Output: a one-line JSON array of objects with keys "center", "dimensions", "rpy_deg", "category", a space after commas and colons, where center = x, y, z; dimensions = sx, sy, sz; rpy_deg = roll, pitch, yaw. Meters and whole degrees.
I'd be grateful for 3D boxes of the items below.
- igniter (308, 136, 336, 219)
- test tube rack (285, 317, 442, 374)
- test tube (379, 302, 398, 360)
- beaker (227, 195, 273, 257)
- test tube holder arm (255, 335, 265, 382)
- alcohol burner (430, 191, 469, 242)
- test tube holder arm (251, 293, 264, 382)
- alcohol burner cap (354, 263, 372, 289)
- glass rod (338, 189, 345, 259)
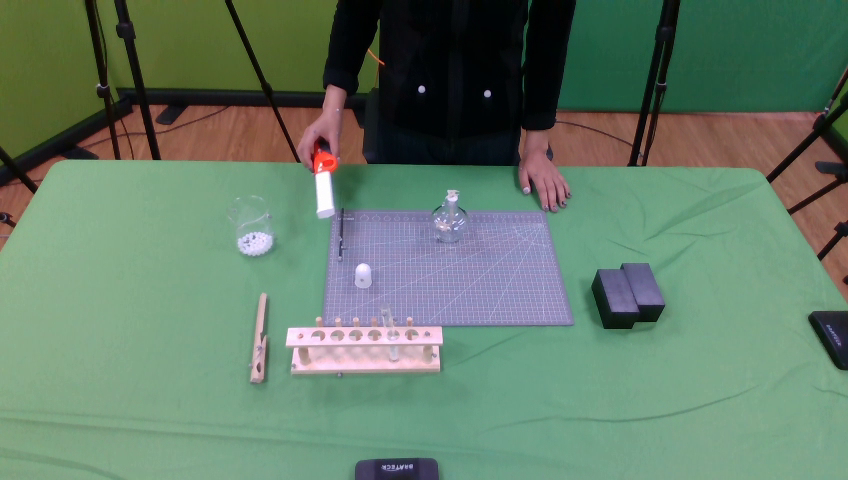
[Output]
[{"center": [-0.204, -0.134, 1.219], "dimensions": [0.057, 0.025, 0.274], "rpy_deg": [-13, 40, 0], "category": "igniter"}, {"center": [-0.095, 0.166, 0.988], "dimensions": [0.242, 0.085, 0.066], "rpy_deg": [0, 46, -4], "category": "test tube rack"}, {"center": [-0.054, 0.145, 0.943], "dimensions": [0.017, 0.151, 0.017], "rpy_deg": [-2, 49, 3], "category": "test tube"}, {"center": [-0.326, -0.022, 1.142], "dimensions": [0.074, 0.101, 0.083], "rpy_deg": [10, 47, 6], "category": "beaker"}, {"center": [-0.270, 0.193, 0.997], "dimensions": [0.010, 0.015, 0.087], "rpy_deg": [23, 36, -32], "category": "test tube holder arm"}, {"center": [0.051, -0.053, 1.185], "dimensions": [0.078, 0.119, 0.077], "rpy_deg": [2, 48, -2], "category": "alcohol burner"}, {"center": [-0.281, 0.160, 1.025], "dimensions": [0.013, 0.015, 0.177], "rpy_deg": [23, 36, -32], "category": "test tube holder arm"}, {"center": [-0.113, 0.063, 1.111], "dimensions": [0.034, 0.048, 0.033], "rpy_deg": [2, 46, -2], "category": "alcohol burner cap"}, {"center": [-0.166, -0.036, 1.227], "dimensions": [0.008, 0.008, 0.198], "rpy_deg": [-1, 47, -4], "category": "glass rod"}]
